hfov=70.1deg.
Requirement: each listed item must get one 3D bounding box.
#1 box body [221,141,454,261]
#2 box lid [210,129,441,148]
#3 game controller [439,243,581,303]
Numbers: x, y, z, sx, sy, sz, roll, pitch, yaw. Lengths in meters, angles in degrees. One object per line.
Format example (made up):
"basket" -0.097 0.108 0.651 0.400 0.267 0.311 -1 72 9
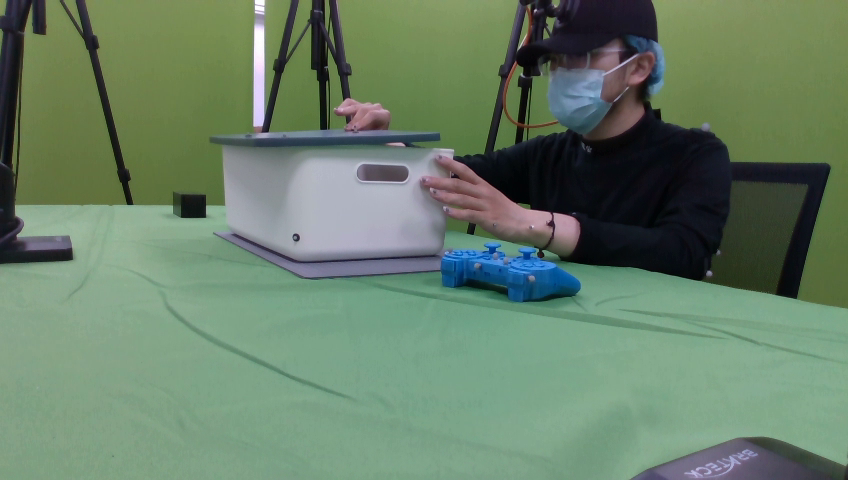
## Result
"box body" -0.152 -0.074 0.963 0.255 0.160 0.362 -2 9 -33
"box lid" -0.166 -0.156 0.925 0.264 0.015 0.369 -9 13 -27
"game controller" 0.090 0.033 0.685 0.154 0.051 0.097 8 13 42
